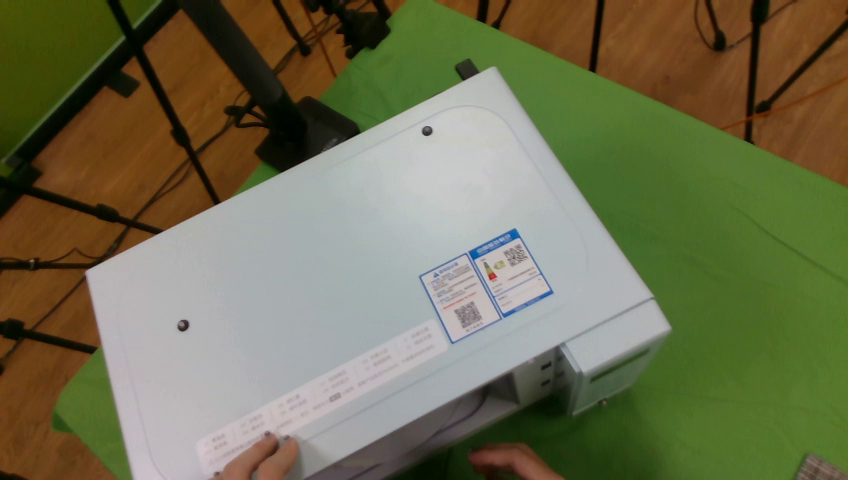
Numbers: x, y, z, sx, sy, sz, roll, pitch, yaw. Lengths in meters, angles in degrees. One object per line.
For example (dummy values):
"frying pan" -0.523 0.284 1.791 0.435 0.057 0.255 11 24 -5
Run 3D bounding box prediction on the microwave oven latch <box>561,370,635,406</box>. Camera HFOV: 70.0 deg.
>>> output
"microwave oven latch" 0.190 0.152 0.663 0.079 0.030 0.030 -26 66 0

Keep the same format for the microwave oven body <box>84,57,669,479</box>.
"microwave oven body" -0.048 0.078 0.632 0.442 0.262 0.323 -28 66 -1
